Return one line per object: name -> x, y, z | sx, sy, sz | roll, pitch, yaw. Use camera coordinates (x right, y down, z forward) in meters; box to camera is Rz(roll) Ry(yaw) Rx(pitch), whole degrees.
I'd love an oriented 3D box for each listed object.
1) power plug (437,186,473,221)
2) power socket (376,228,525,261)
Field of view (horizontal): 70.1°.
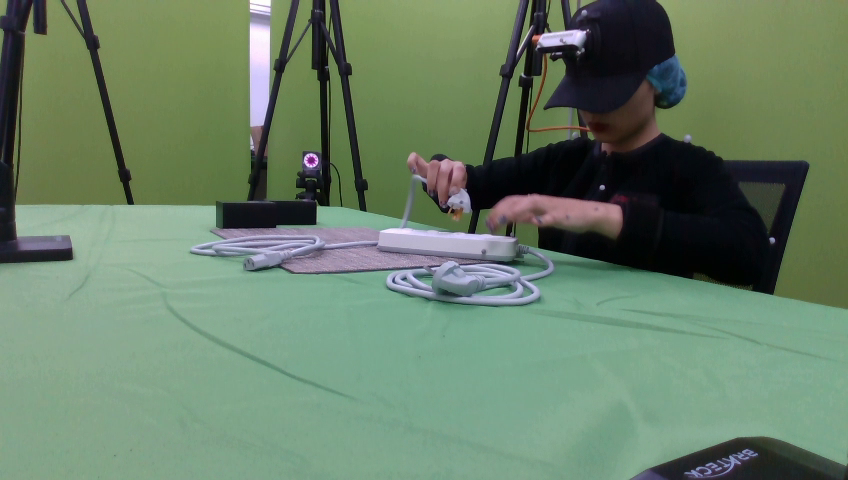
power plug -> 0.045, -0.054, 0.924 | 0.035, 0.052, 0.072 | 33, -16, -33
power socket -> 0.037, 0.005, 0.913 | 0.226, 0.032, 0.072 | 5, 8, 16
